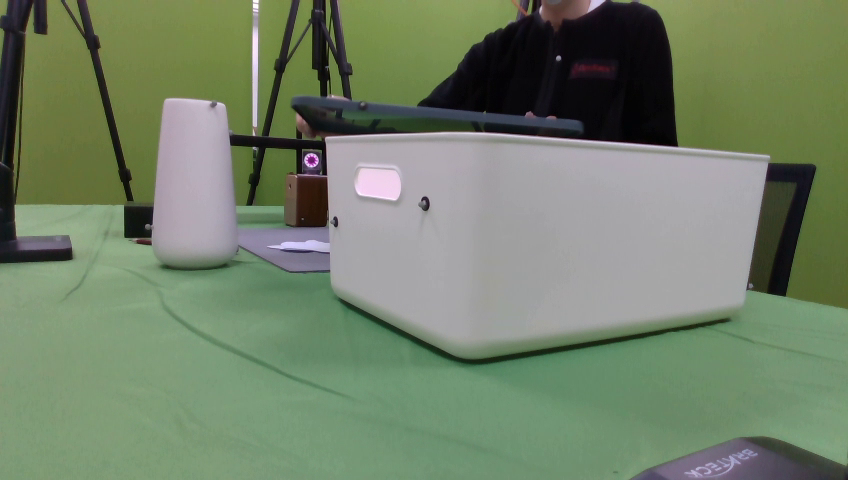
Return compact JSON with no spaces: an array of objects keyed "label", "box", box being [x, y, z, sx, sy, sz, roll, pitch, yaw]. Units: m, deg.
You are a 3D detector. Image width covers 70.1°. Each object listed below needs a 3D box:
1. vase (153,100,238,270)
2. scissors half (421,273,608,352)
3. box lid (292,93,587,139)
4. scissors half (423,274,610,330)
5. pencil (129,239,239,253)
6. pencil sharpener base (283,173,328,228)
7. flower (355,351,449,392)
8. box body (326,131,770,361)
[{"label":"vase","box":[-0.278,-0.066,0.736,0.098,0.200,0.098,2,9,0]},{"label":"scissors half","box":[0.076,0.066,0.534,0.174,0.040,0.013,17,57,25]},{"label":"box lid","box":[0.014,-0.157,0.847,0.372,0.015,0.263,5,2,-5]},{"label":"scissors half","box":[0.074,0.056,0.523,0.174,0.040,0.013,12,49,29]},{"label":"pencil","box":[-0.350,0.008,0.874,0.193,0.012,0.012,4,8,18]},{"label":"pencil sharpener base","box":[-0.239,-0.081,1.231,0.077,0.107,0.061,-2,8,-36]},{"label":"flower","box":[0.104,0.076,0.586,0.363,0.044,0.038,-20,39,-14]},{"label":"box body","box":[0.112,-0.011,0.583,0.366,0.160,0.253,-2,9,-32]}]
